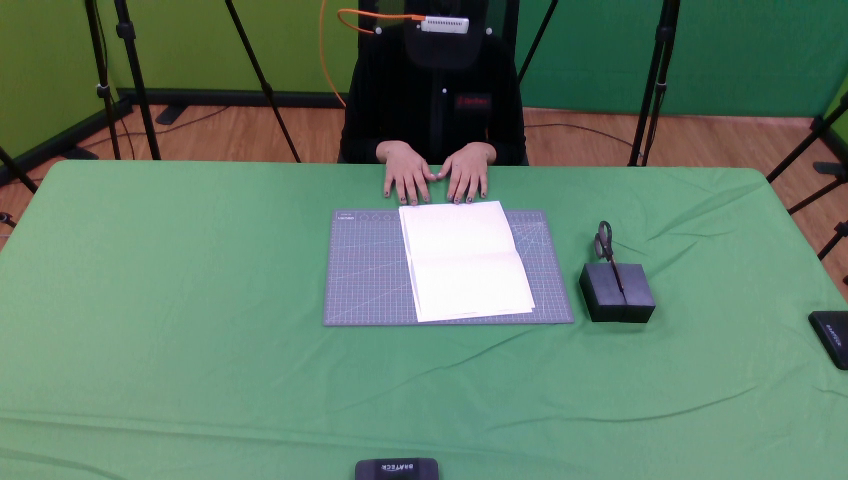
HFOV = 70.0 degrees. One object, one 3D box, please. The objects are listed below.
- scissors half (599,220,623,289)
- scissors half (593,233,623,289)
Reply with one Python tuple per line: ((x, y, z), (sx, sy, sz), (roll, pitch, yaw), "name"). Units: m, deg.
((0.354, 0.024, 1.142), (0.013, 0.040, 0.174), (4, 47, -4), "scissors half")
((0.351, 0.040, 1.154), (0.013, 0.040, 0.174), (9, 29, -7), "scissors half")
